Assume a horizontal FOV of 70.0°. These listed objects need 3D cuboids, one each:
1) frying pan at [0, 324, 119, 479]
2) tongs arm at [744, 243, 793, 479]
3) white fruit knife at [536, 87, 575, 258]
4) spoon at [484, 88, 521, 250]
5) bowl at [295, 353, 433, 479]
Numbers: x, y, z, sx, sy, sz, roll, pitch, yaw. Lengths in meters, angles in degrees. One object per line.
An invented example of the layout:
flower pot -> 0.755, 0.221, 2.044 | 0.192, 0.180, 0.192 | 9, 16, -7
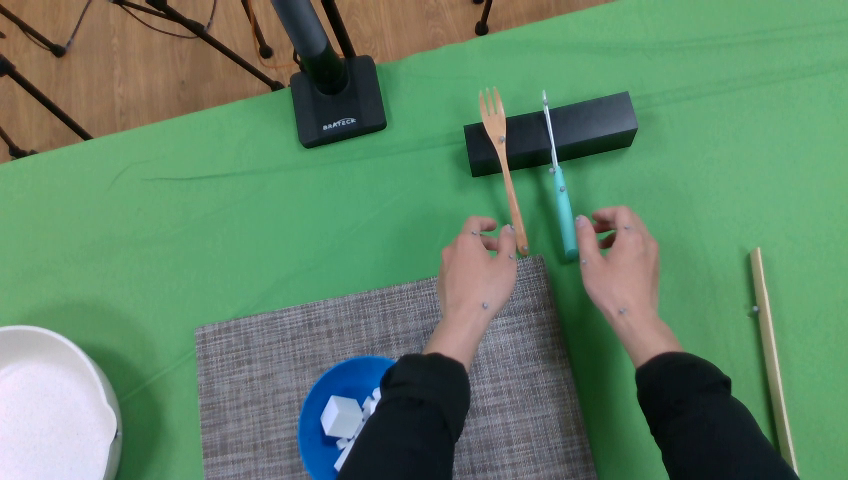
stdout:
frying pan -> -0.481, 0.342, 0.686 | 0.307, 0.103, 0.483 | -13, 65, 5
tongs arm -> 0.383, 0.190, 0.642 | 0.028, 0.028, 0.385 | -4, 75, 5
white fruit knife -> 0.154, -0.081, 0.723 | 0.016, 0.027, 0.207 | -11, 88, 0
spoon -> 0.097, -0.083, 0.726 | 0.041, 0.022, 0.194 | -3, 95, 29
bowl -> -0.059, 0.204, 0.672 | 0.151, 0.077, 0.150 | -2, 74, 7
